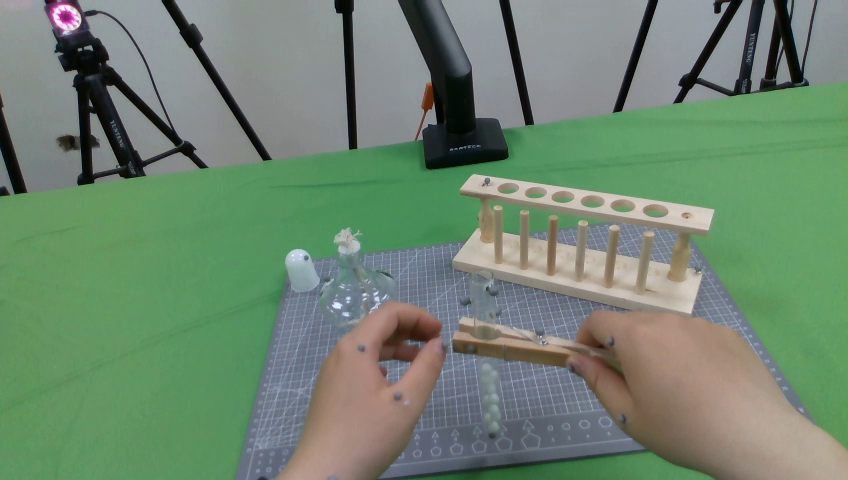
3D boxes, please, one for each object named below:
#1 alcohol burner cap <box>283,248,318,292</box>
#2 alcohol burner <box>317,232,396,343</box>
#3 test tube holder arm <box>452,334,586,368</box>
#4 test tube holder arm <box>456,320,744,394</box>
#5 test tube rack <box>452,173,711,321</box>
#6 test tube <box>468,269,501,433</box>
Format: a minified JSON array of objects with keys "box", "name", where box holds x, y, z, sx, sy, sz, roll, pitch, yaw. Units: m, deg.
[{"box":[-0.137,0.030,0.665,0.034,0.048,0.033,-5,36,4],"name":"alcohol burner cap"},{"box":[-0.066,0.040,0.573,0.078,0.120,0.077,-4,37,4],"name":"alcohol burner"},{"box":[0.062,0.073,0.398,0.087,0.015,0.010,2,44,16],"name":"test tube holder arm"},{"box":[0.106,0.073,0.387,0.177,0.015,0.013,7,46,21],"name":"test tube holder arm"},{"box":[0.146,0.001,0.607,0.241,0.086,0.066,12,41,27],"name":"test tube rack"},{"box":[0.043,0.082,0.419,0.017,0.151,0.017,-5,35,4],"name":"test tube"}]
